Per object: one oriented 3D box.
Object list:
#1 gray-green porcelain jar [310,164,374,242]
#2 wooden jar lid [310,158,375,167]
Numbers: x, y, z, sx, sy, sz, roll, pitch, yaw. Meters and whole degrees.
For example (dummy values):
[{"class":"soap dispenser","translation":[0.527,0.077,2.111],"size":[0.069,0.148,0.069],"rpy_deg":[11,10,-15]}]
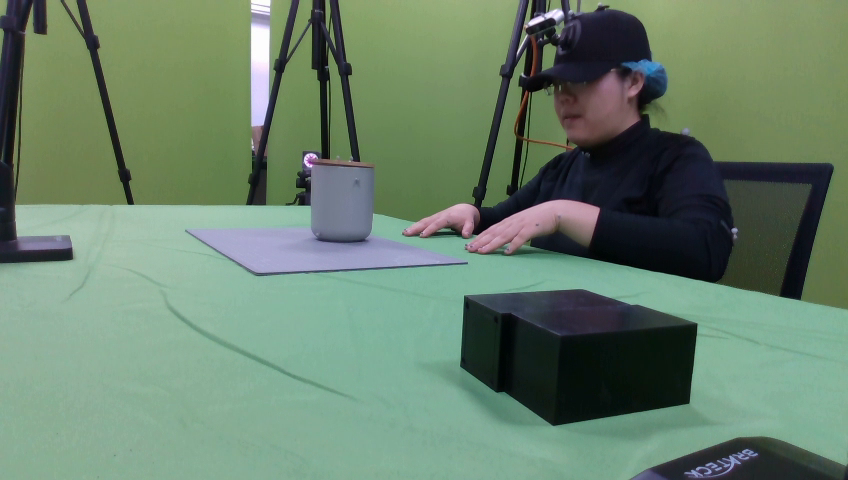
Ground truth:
[{"class":"gray-green porcelain jar","translation":[-0.139,-0.063,1.023],"size":[0.106,0.126,0.106],"rpy_deg":[3,8,0]},{"class":"wooden jar lid","translation":[-0.136,-0.125,1.015],"size":[0.108,0.020,0.108],"rpy_deg":[5,8,0]}]
